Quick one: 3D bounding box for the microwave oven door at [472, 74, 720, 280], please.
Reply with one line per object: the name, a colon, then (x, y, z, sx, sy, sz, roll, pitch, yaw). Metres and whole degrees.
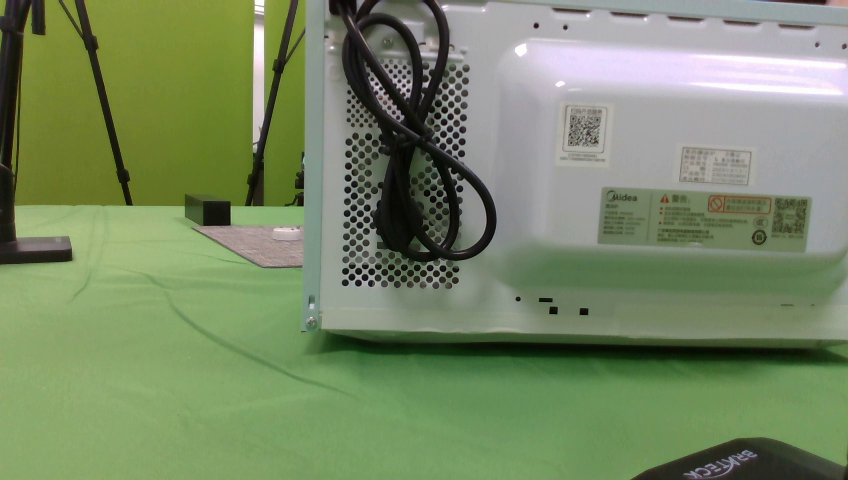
microwave oven door: (0.211, -0.092, 0.835, 0.039, 0.243, 0.354, -5, 10, -42)

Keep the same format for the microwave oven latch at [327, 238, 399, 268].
microwave oven latch: (-0.069, 0.015, 0.694, 0.079, 0.029, 0.030, 3, 7, -3)

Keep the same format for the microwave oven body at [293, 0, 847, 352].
microwave oven body: (0.122, -0.055, 0.551, 0.442, 0.260, 0.325, 3, 7, -5)

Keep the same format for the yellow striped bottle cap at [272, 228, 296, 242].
yellow striped bottle cap: (-0.232, -0.008, 1.012, 0.044, 0.018, 0.044, 4, 9, 0)

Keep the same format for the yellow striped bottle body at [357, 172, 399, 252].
yellow striped bottle body: (-0.071, -0.044, 0.932, 0.063, 0.120, 0.063, 2, 7, 0)
